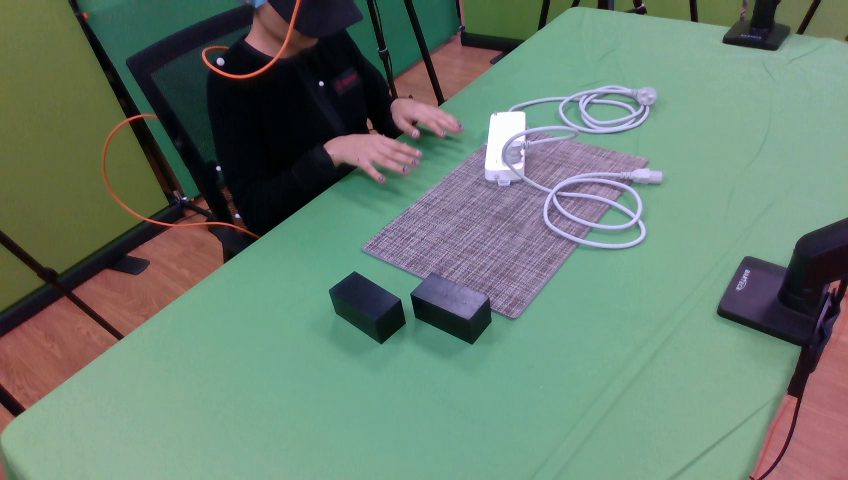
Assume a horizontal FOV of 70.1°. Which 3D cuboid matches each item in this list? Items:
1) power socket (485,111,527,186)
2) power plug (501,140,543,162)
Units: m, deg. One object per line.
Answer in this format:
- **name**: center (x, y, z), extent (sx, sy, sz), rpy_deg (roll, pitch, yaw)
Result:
- **power socket**: center (0.159, -0.181, 1.153), extent (0.072, 0.033, 0.226), rpy_deg (0, 40, 11)
- **power plug**: center (0.174, -0.150, 1.078), extent (0.072, 0.053, 0.035), rpy_deg (6, 42, 20)
